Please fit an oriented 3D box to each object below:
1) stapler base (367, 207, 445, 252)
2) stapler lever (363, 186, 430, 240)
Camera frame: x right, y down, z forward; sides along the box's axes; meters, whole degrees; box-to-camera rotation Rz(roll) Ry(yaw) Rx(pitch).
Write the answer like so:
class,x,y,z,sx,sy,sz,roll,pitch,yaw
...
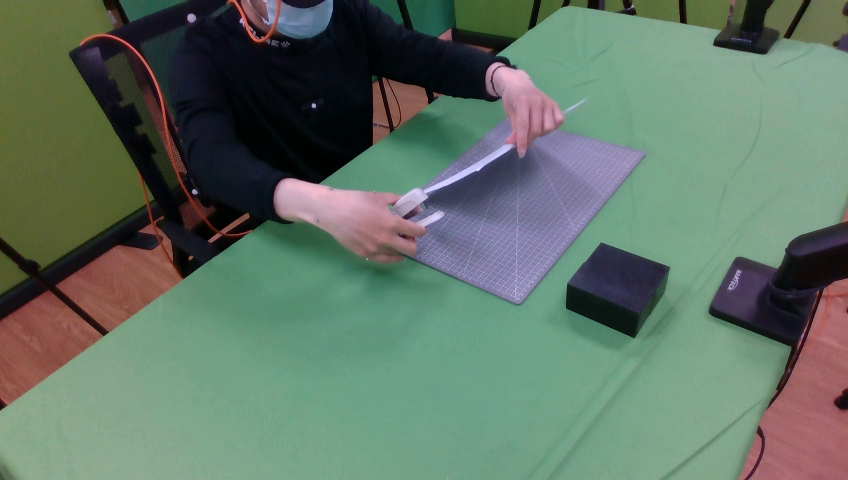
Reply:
class,x,y,z,sx,sy,sz,roll,pitch,yaw
stapler base,-0.031,-0.021,0.908,0.130,0.024,0.041,-29,1,17
stapler lever,-0.044,-0.042,0.907,0.118,0.040,0.027,-27,1,17
